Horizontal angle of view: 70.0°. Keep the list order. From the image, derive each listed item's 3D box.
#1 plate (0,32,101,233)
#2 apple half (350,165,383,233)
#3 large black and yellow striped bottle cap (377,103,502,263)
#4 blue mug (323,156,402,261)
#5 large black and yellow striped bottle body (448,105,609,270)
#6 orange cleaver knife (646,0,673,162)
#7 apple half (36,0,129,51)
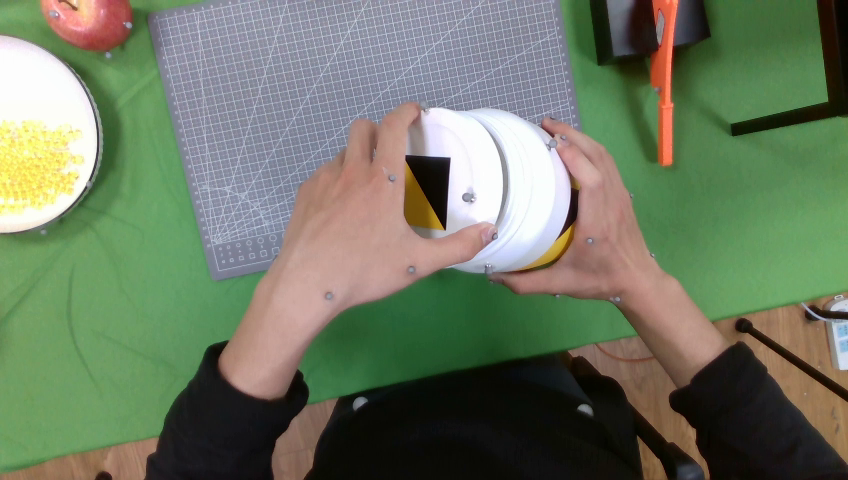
[{"bbox_3d":[-0.448,-0.112,0.646,0.209,0.038,0.209,0,96,-3],"label":"plate"},{"bbox_3d":[-0.049,-0.039,0.638,0.033,0.081,0.081,20,93,2],"label":"apple half"},{"bbox_3d":[0.007,-0.040,0.436,0.019,0.114,0.115,-1,97,-43],"label":"large black and yellow striped bottle cap"},{"bbox_3d":[-0.053,-0.030,0.645,0.082,0.105,0.117,-27,96,-1],"label":"blue mug"},{"bbox_3d":[0.067,-0.040,0.513,0.130,0.185,0.130,-1,89,35],"label":"large black and yellow striped bottle body"},{"bbox_3d":[0.256,-0.191,0.665,0.012,0.076,0.213,-10,122,6],"label":"orange cleaver knife"},{"bbox_3d":[-0.346,-0.224,0.625,0.081,0.074,0.053,-8,99,-7],"label":"apple half"}]
